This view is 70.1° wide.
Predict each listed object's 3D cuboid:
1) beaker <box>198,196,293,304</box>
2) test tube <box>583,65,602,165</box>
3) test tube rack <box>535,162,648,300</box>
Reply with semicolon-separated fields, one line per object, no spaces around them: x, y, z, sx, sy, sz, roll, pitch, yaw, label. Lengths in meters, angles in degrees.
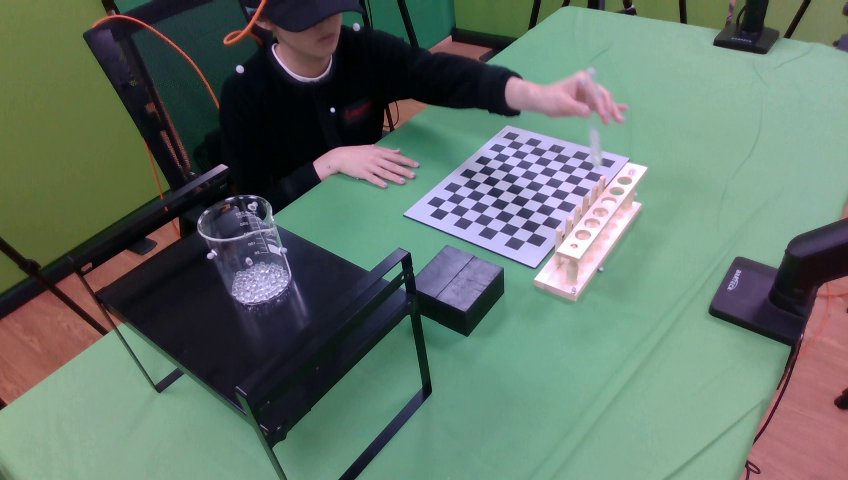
-0.185;0.014;0.651;0.083;0.101;0.074;9;44;18;beaker
0.242;-0.176;0.864;0.017;0.151;0.017;-11;30;7;test tube
0.257;-0.024;0.916;0.066;0.085;0.243;22;49;30;test tube rack
